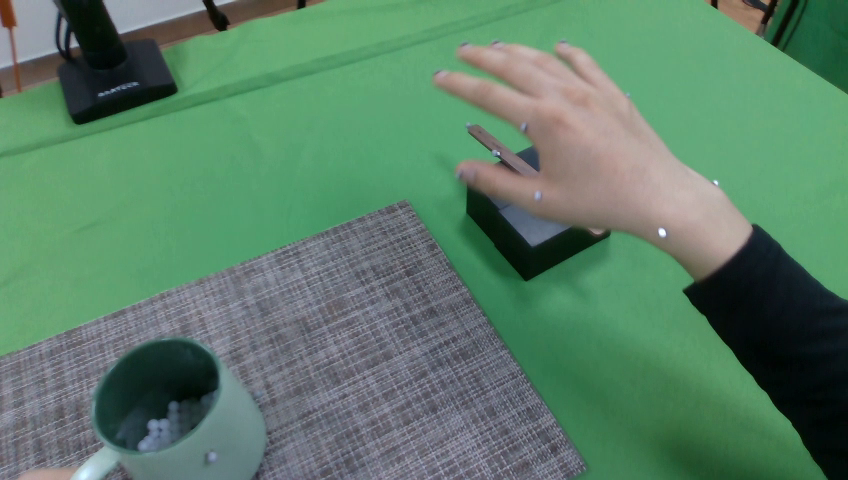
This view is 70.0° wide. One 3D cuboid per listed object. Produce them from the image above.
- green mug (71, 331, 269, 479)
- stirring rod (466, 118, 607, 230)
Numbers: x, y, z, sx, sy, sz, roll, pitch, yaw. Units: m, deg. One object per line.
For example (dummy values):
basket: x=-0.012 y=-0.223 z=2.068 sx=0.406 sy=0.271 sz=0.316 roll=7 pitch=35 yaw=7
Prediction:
green mug: x=-0.171 y=0.131 z=0.404 sx=0.092 sy=0.106 sz=0.125 roll=32 pitch=60 yaw=23
stirring rod: x=0.098 y=-0.064 z=0.553 sx=0.014 sy=0.006 sz=0.174 roll=-32 pitch=57 yaw=-21
